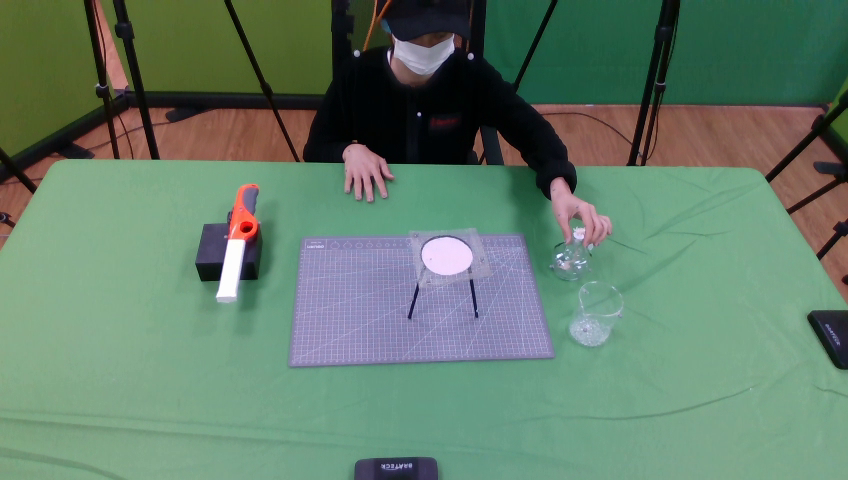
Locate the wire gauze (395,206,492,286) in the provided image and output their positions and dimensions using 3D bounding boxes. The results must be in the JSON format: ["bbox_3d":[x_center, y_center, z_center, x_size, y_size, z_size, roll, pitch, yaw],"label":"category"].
[{"bbox_3d":[0.031,0.010,0.993,0.125,0.011,0.120,-24,57,-17],"label":"wire gauze"}]

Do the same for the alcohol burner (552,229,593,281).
[{"bbox_3d":[0.281,0.022,1.137,0.078,0.120,0.077,1,48,-1],"label":"alcohol burner"}]

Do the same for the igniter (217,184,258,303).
[{"bbox_3d":[-0.339,-0.003,1.106,0.057,0.025,0.274,1,49,-6],"label":"igniter"}]

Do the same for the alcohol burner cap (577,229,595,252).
[{"bbox_3d":[0.326,-0.002,1.212,0.034,0.048,0.033,2,48,-2],"label":"alcohol burner cap"}]

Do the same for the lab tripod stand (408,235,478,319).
[{"bbox_3d":[0.032,0.065,1.057,0.148,0.132,0.147,1,45,-1],"label":"lab tripod stand"}]

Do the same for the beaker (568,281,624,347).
[{"bbox_3d":[0.290,0.132,1.041,0.084,0.101,0.073,-34,57,-31],"label":"beaker"}]
